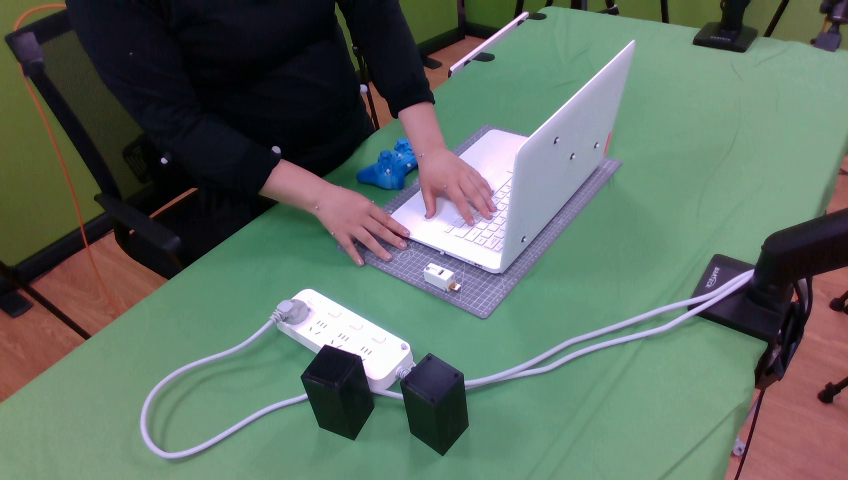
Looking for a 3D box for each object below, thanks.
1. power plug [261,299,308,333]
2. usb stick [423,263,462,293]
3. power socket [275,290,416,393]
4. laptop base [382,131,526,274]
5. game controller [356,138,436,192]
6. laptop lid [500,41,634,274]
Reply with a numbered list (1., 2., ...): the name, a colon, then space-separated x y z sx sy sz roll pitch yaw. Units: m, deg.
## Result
1. power plug: -0.193 0.110 0.829 0.073 0.053 0.035 -35 48 -23
2. usb stick: 0.029 0.058 0.887 0.059 0.027 0.021 25 48 30
3. power socket: -0.114 0.133 0.820 0.225 0.033 0.072 24 48 32
4. laptop base: 0.124 -0.080 1.049 0.233 0.023 0.355 20 47 33
5. game controller: -0.048 -0.149 1.136 0.096 0.052 0.155 27 51 28
6. laptop lid: 0.218 -0.127 0.905 0.013 0.242 0.358 28 50 25
